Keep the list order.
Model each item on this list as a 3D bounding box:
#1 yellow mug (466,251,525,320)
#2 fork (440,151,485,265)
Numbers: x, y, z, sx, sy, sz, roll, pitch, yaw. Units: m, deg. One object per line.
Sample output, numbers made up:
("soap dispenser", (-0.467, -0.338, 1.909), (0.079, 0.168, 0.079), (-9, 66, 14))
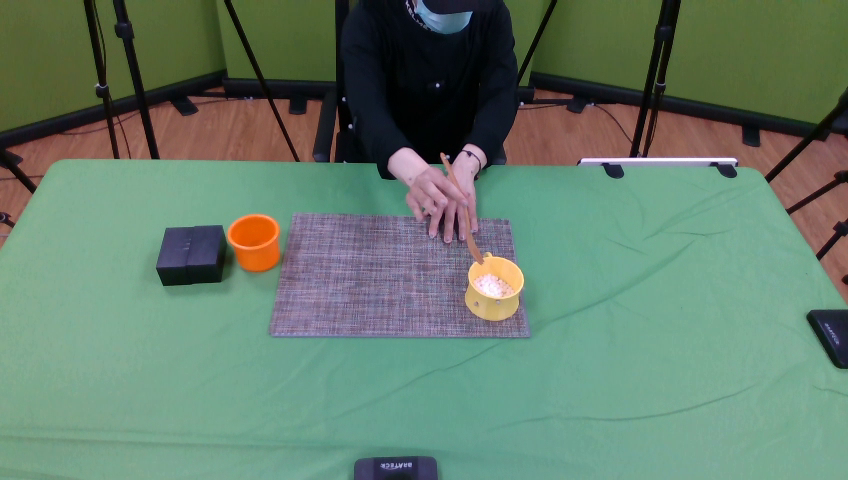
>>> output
("yellow mug", (0.125, 0.074, 1.096), (0.100, 0.064, 0.130), (-4, 46, -7))
("fork", (0.066, -0.053, 1.036), (0.018, 0.208, 0.028), (-11, 14, 28))
